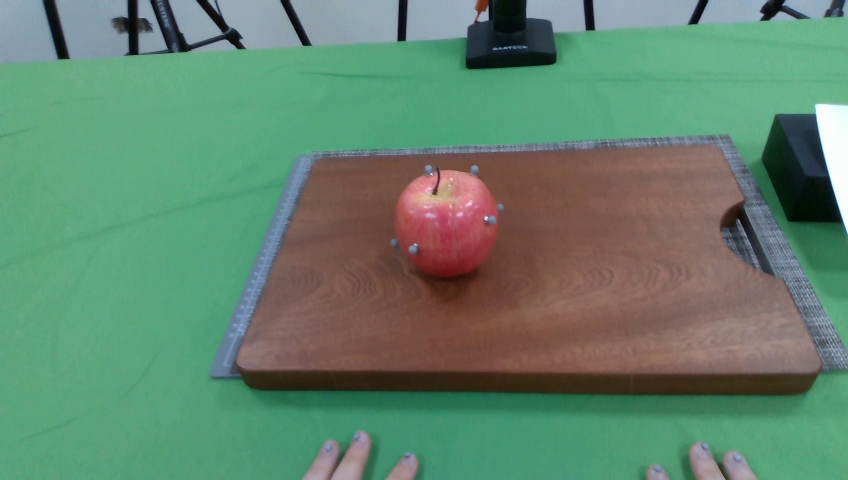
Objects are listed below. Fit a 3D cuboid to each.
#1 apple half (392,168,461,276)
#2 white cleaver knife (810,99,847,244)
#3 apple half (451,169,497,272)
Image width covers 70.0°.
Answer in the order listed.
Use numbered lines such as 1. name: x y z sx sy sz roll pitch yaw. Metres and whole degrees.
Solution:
1. apple half: 0.003 -0.013 0.475 0.053 0.075 0.080 -4 44 10
2. white cleaver knife: 0.356 -0.009 0.466 0.066 0.022 0.284 0 54 12
3. apple half: 0.041 -0.015 0.470 0.033 0.082 0.080 -4 42 10
